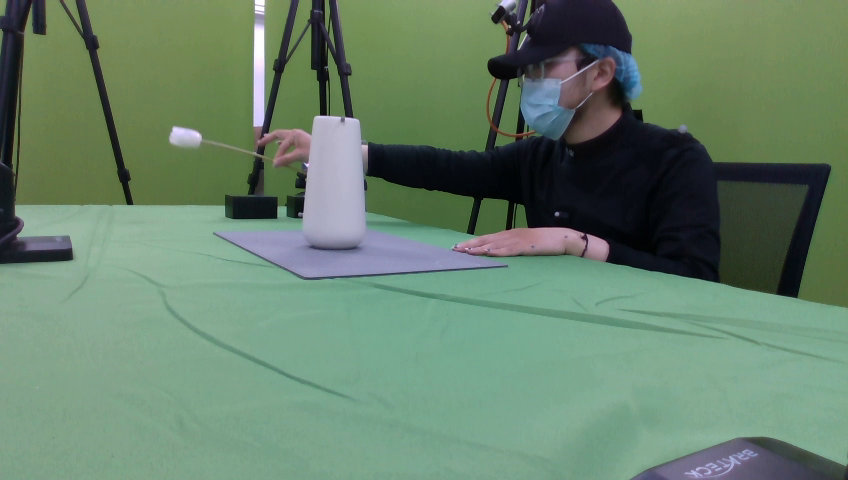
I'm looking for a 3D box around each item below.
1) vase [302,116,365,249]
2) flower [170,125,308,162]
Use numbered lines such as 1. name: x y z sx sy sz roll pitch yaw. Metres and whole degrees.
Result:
1. vase: -0.139 -0.088 0.931 0.098 0.200 0.098 2 9 0
2. flower: -0.368 -0.197 1.335 0.364 0.038 0.044 8 -6 -35
